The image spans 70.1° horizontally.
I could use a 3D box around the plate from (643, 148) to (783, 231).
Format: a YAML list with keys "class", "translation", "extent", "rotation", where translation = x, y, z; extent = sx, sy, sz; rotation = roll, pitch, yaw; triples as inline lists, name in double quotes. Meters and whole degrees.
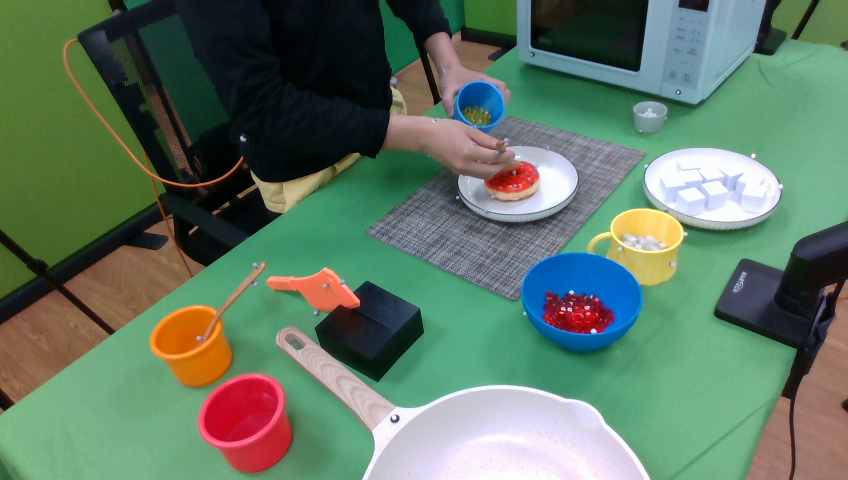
- class: "plate"
  translation: [0.464, -0.080, 0.985]
  extent: [0.207, 0.039, 0.206]
  rotation: [-4, 41, 4]

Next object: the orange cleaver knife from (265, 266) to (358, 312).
- class: "orange cleaver knife"
  translation: [-0.164, 0.073, 0.864]
  extent: [0.210, 0.077, 0.012]
  rotation: [-6, 30, 50]

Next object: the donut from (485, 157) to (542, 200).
- class: "donut"
  translation: [0.153, -0.108, 1.039]
  extent: [0.099, 0.048, 0.098]
  rotation: [-6, 37, 5]

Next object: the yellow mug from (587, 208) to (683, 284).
- class: "yellow mug"
  translation: [0.305, 0.009, 0.884]
  extent: [0.131, 0.064, 0.099]
  rotation: [-4, 41, 5]

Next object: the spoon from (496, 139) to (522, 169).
- class: "spoon"
  translation: [0.125, -0.133, 0.931]
  extent: [0.041, 0.194, 0.021]
  rotation: [-16, 81, 12]

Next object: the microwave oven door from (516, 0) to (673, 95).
- class: "microwave oven door"
  translation: [0.344, -0.458, 1.256]
  extent: [0.353, 0.245, 0.039]
  rotation: [26, 52, 33]

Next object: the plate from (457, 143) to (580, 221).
- class: "plate"
  translation: [0.162, -0.097, 1.042]
  extent: [0.209, 0.038, 0.208]
  rotation: [-4, 40, 4]

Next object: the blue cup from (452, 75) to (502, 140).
- class: "blue cup"
  translation: [0.086, -0.221, 1.055]
  extent: [0.093, 0.100, 0.092]
  rotation: [1, 77, -2]

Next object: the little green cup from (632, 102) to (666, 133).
- class: "little green cup"
  translation: [0.434, -0.237, 1.171]
  extent: [0.061, 0.039, 0.061]
  rotation: [-5, 40, 5]

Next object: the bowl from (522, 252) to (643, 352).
- class: "bowl"
  translation: [0.204, 0.093, 0.792]
  extent: [0.151, 0.077, 0.150]
  rotation: [-4, 40, 4]

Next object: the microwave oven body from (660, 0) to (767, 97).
- class: "microwave oven body"
  translation: [0.473, -0.517, 1.313]
  extent: [0.438, 0.261, 0.327]
  rotation: [26, 51, 34]

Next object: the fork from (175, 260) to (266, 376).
- class: "fork"
  translation: [-0.268, 0.103, 0.792]
  extent: [0.207, 0.019, 0.028]
  rotation: [-51, 41, 16]

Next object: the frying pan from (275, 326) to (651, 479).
- class: "frying pan"
  translation: [0.004, 0.229, 0.641]
  extent: [0.484, 0.103, 0.308]
  rotation: [34, 54, 28]

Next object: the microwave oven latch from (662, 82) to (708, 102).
- class: "microwave oven latch"
  translation: [0.518, -0.298, 1.203]
  extent: [0.078, 0.029, 0.030]
  rotation: [28, 52, 35]
